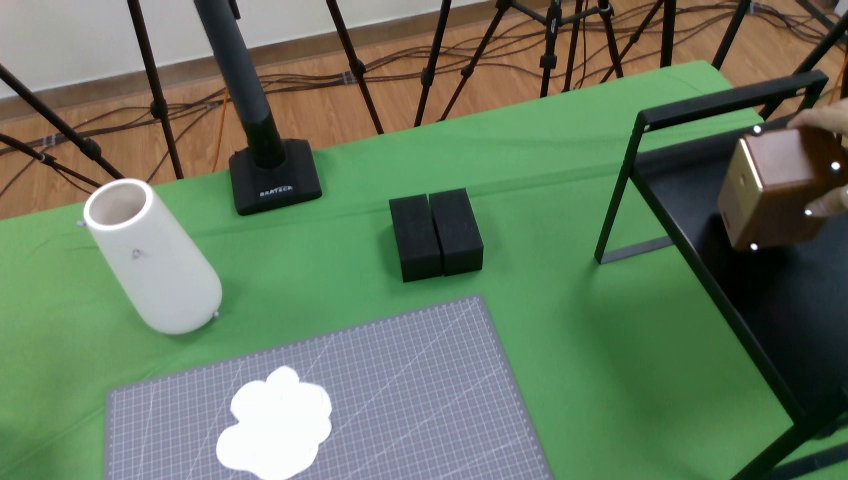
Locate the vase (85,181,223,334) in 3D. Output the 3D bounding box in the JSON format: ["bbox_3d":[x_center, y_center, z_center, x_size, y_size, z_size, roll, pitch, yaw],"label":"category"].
[{"bbox_3d":[-0.301,0.024,0.684,0.098,0.202,0.097,-2,52,3],"label":"vase"}]

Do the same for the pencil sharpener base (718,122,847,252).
[{"bbox_3d":[0.312,-0.043,0.529,0.076,0.108,0.061,-9,60,9],"label":"pencil sharpener base"}]

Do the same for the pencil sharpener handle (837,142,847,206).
[{"bbox_3d":[0.359,-0.055,0.509,0.030,0.068,0.035,-9,47,9],"label":"pencil sharpener handle"}]
